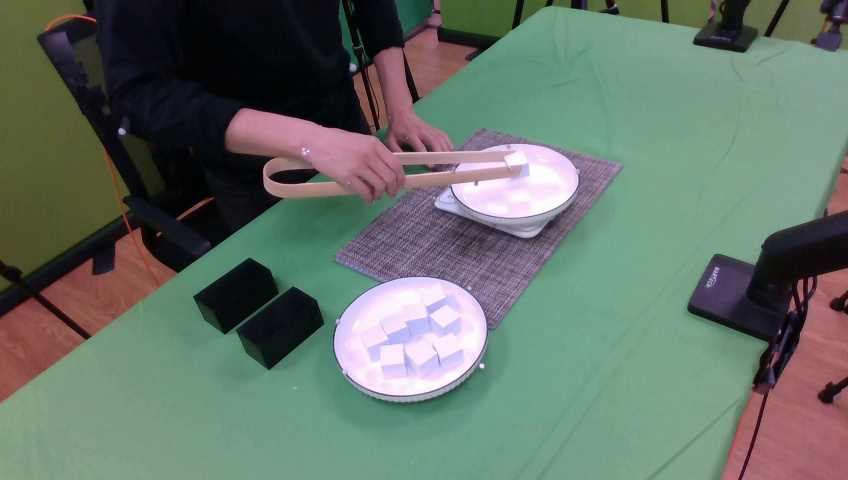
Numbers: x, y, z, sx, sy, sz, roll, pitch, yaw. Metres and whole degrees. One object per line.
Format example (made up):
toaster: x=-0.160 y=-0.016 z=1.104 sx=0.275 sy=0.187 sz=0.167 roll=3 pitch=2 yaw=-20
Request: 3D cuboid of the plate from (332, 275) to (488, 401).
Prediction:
plate: x=-0.017 y=0.131 z=0.808 sx=0.207 sy=0.039 sz=0.206 roll=-4 pitch=41 yaw=4

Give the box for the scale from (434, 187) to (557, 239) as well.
scale: x=0.132 y=-0.075 z=1.025 sx=0.199 sy=0.032 sz=0.149 roll=22 pitch=48 yaw=30

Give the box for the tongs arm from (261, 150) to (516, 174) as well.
tongs arm: x=-0.042 y=-0.116 z=0.895 sx=0.390 sy=0.028 sz=0.028 roll=-5 pitch=56 yaw=-18

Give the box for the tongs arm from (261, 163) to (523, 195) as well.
tongs arm: x=-0.037 y=-0.098 z=0.882 sx=0.387 sy=0.026 sz=0.050 roll=-8 pitch=54 yaw=-20

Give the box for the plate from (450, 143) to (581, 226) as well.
plate: x=0.148 y=-0.087 z=0.986 sx=0.209 sy=0.038 sz=0.208 roll=-4 pitch=41 yaw=4
